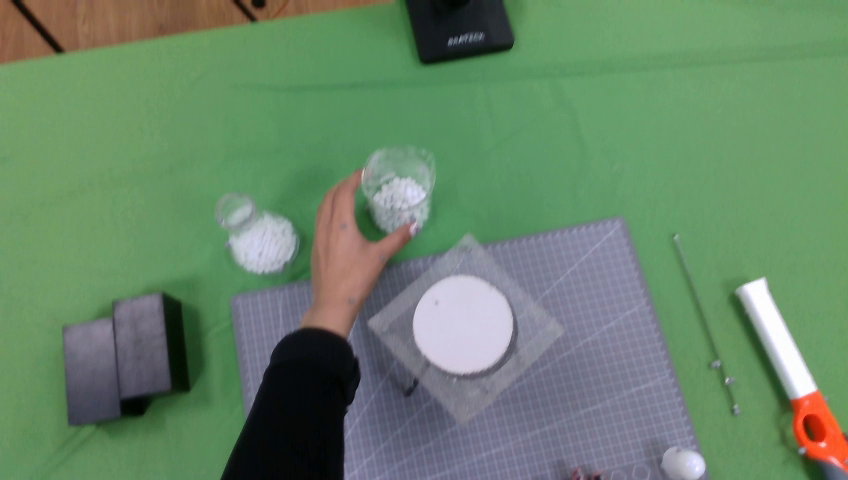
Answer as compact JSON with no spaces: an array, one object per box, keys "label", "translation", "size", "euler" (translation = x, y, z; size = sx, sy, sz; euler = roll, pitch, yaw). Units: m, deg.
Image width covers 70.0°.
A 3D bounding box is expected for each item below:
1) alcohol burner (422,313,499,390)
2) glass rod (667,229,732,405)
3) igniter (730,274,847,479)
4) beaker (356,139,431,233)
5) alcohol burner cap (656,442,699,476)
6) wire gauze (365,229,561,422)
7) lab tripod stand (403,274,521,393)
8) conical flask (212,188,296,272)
[{"label":"alcohol burner","translation":[0.037,0.107,0.594],"size":[0.078,0.119,0.077],"euler":[1,72,-2]},{"label":"glass rod","translation":[0.302,0.081,0.666],"size":[0.008,0.008,0.198],"euler":[-12,75,-5]},{"label":"igniter","translation":[0.395,0.168,0.634],"size":[0.057,0.025,0.275],"euler":[-15,76,-16]},{"label":"beaker","translation":[-0.028,-0.055,0.648],"size":[0.084,0.101,0.073],"euler":[-38,78,-12]},{"label":"alcohol burner cap","translation":[0.256,0.220,0.606],"size":[0.034,0.048,0.033],"euler":[0,74,-1]},{"label":"wire gauze","translation":[0.034,0.072,0.523],"size":[0.125,0.011,0.121],"euler":[-41,81,-10]},{"label":"lab tripod stand","translation":[0.032,0.095,0.587],"size":[0.148,0.132,0.147],"euler":[0,76,-1]},{"label":"conical flask","translation":[-0.179,-0.015,0.621],"size":[0.075,0.122,0.075],"euler":[0,74,-1]}]
